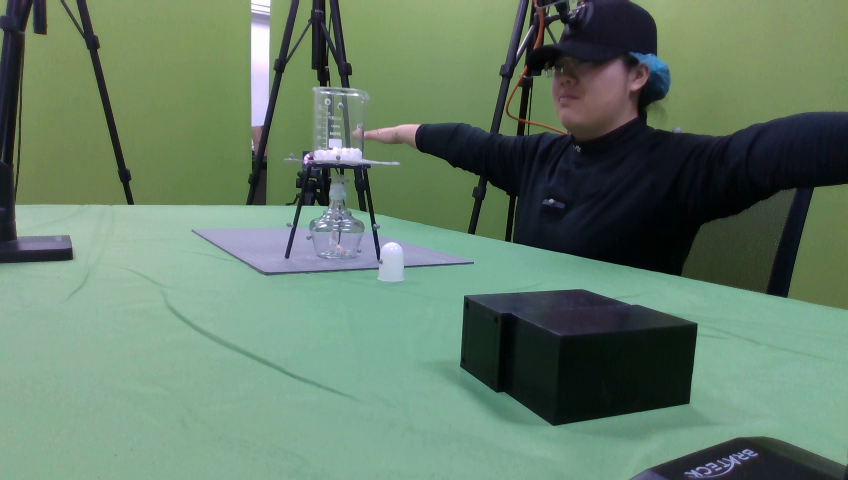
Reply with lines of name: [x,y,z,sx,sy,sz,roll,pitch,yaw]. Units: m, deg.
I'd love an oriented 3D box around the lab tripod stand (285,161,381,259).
lab tripod stand: [-0.123,-0.043,0.842,0.148,0.131,0.148,2,9,0]

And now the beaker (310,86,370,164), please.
beaker: [-0.116,-0.156,0.833,0.084,0.100,0.073,-2,10,-29]

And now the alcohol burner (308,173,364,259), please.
alcohol burner: [-0.121,-0.033,0.843,0.078,0.119,0.078,3,5,0]

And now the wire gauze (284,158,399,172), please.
wire gauze: [-0.116,-0.108,0.835,0.126,0.011,0.121,0,10,-31]

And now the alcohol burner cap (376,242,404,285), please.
alcohol burner cap: [-0.039,0.026,0.710,0.034,0.048,0.034,3,6,0]
